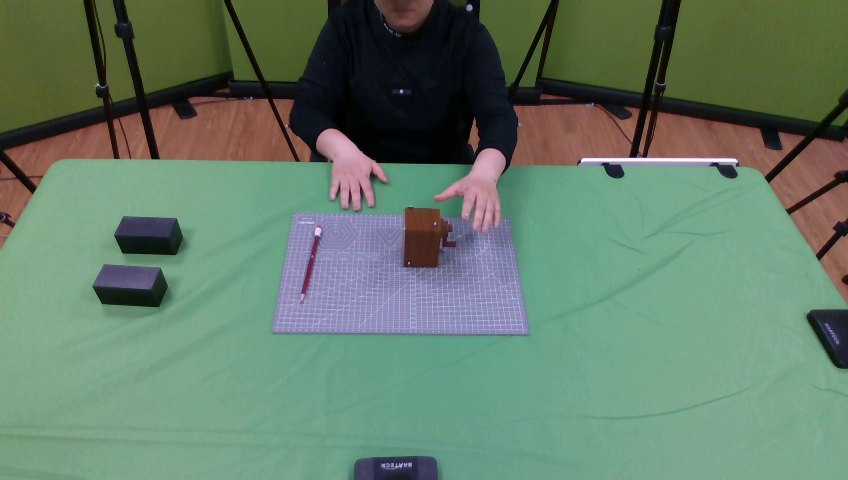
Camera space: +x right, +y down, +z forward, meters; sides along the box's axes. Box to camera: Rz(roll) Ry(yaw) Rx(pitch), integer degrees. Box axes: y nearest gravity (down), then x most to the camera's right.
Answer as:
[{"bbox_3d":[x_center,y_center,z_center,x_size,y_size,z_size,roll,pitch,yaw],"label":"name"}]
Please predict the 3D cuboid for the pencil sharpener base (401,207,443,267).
[{"bbox_3d":[-0.005,-0.003,1.137,0.077,0.107,0.061,1,45,-4],"label":"pencil sharpener base"}]

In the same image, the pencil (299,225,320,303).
[{"bbox_3d":[-0.217,0.043,1.144,0.012,0.012,0.193,4,47,0],"label":"pencil"}]

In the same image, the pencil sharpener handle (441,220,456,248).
[{"bbox_3d":[0.047,-0.011,1.131,0.031,0.068,0.036,1,44,-4],"label":"pencil sharpener handle"}]
